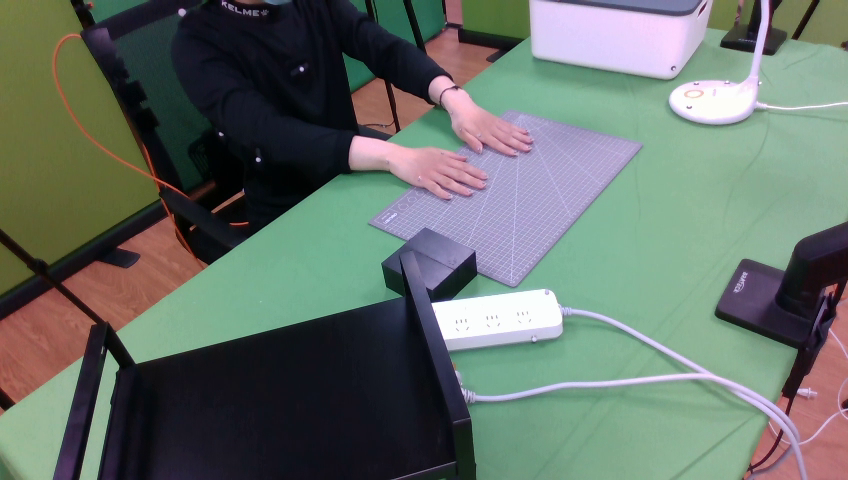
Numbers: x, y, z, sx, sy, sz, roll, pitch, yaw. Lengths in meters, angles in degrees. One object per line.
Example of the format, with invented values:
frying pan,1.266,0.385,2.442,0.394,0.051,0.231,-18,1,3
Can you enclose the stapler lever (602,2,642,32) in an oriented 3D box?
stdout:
stapler lever,0.452,-0.517,1.380,0.118,0.040,0.026,-39,61,-19

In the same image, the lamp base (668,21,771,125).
lamp base,0.577,-0.333,1.155,0.179,0.181,0.160,6,42,12

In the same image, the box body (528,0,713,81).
box body,0.450,-0.512,1.398,0.361,0.161,0.254,19,48,28

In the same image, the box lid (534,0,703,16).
box lid,0.440,-0.569,1.350,0.369,0.015,0.264,19,47,28

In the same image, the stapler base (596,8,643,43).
stapler base,0.454,-0.502,1.399,0.131,0.024,0.041,-38,61,-20

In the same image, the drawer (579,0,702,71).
drawer,0.485,-0.489,1.363,0.210,0.073,0.194,24,62,21

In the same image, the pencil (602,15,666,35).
pencil,0.484,-0.494,1.390,0.195,0.012,0.012,-21,42,-20

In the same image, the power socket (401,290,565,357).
power socket,0.080,0.113,0.822,0.227,0.033,0.072,-7,41,0

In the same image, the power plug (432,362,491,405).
power plug,0.045,0.182,0.758,0.073,0.035,0.052,21,43,-18
